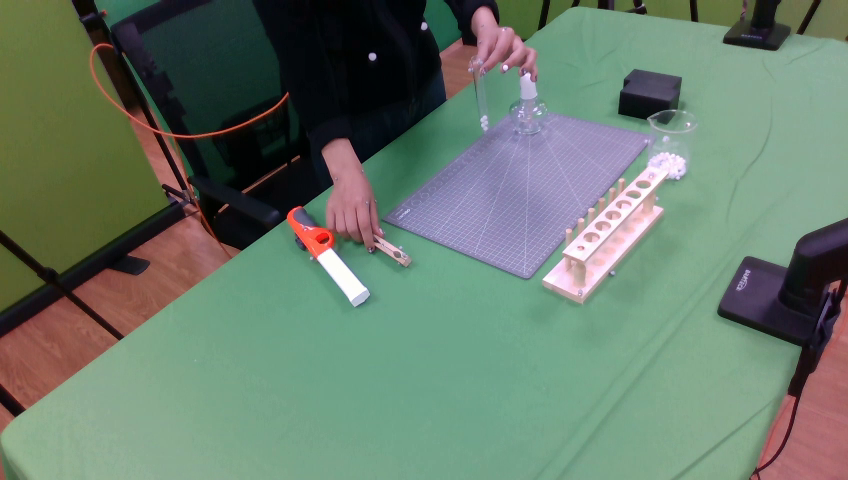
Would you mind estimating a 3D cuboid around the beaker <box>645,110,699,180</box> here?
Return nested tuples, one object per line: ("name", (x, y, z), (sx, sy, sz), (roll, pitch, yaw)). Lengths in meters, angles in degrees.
("beaker", (0.417, -0.160, 1.032), (0.083, 0.101, 0.074), (25, 51, 35))

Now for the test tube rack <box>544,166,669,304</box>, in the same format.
("test tube rack", (0.274, -0.018, 0.903), (0.066, 0.085, 0.243), (26, 51, 35))

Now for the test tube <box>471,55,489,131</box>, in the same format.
("test tube", (0.096, -0.244, 1.020), (0.017, 0.151, 0.017), (-6, 50, 8))

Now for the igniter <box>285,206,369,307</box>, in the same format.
("igniter", (-0.166, 0.018, 0.986), (0.057, 0.025, 0.274), (-34, 45, -12))

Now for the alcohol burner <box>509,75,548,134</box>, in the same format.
("alcohol burner", (0.204, -0.270, 1.186), (0.078, 0.119, 0.077), (-5, 42, 5))

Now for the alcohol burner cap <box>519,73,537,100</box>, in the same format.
("alcohol burner cap", (0.198, -0.298, 1.163), (0.034, 0.048, 0.033), (-9, 37, 8))

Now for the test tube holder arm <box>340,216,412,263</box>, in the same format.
("test tube holder arm", (-0.083, -0.003, 0.999), (0.177, 0.015, 0.013), (31, 77, 40))

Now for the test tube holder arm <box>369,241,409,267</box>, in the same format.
("test tube holder arm", (-0.057, 0.020, 0.970), (0.087, 0.015, 0.010), (32, 78, 40))
